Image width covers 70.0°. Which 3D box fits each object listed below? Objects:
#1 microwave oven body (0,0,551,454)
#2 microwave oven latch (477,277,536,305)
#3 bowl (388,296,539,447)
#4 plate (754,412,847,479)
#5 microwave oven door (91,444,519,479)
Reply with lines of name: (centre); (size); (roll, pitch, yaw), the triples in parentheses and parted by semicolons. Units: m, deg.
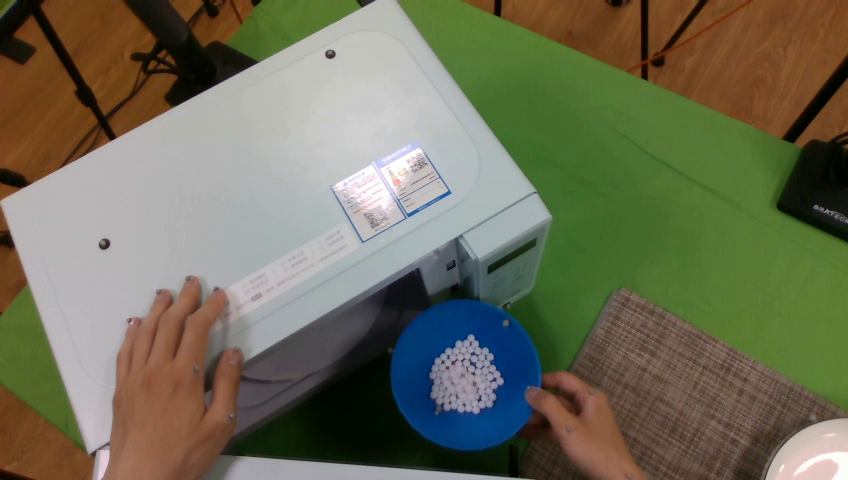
microwave oven body: (-0.140, -0.001, 0.672); (0.442, 0.262, 0.323); (-31, 71, -6)
microwave oven latch: (0.096, 0.060, 0.732); (0.079, 0.030, 0.030); (-29, 70, -5)
bowl: (0.039, 0.141, 0.631); (0.151, 0.077, 0.150); (0, 66, 0)
plate: (0.449, 0.288, 0.632); (0.207, 0.039, 0.206); (-2, 70, 4)
microwave oven door: (-0.081, 0.224, 0.578); (0.355, 0.245, 0.039); (2, 70, 6)
